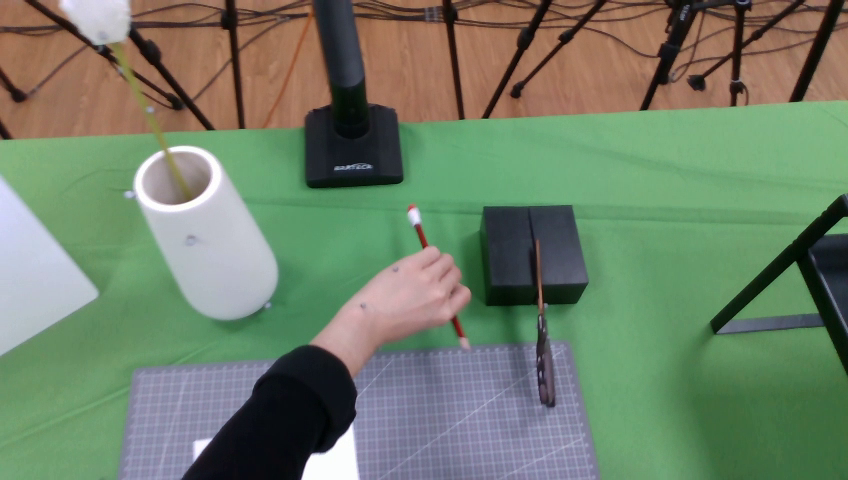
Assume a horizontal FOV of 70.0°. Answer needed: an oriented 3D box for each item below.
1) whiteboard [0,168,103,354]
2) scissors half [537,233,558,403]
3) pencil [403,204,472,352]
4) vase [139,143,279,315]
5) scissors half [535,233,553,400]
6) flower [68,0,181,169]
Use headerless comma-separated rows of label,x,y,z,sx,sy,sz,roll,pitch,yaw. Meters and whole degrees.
whiteboard,-0.498,-0.026,0.558,0.217,0.308,0.142,-34,47,-20
scissors half,0.124,0.077,0.622,0.012,0.040,0.174,-7,78,22
pencil,0.012,0.034,0.629,0.012,0.012,0.192,-16,56,-12
vase,-0.203,-0.005,0.585,0.098,0.201,0.097,1,58,0
scissors half,0.117,0.071,0.604,0.013,0.040,0.173,-6,60,17
flower,-0.209,-0.059,0.520,0.044,0.365,0.038,-10,43,-4
